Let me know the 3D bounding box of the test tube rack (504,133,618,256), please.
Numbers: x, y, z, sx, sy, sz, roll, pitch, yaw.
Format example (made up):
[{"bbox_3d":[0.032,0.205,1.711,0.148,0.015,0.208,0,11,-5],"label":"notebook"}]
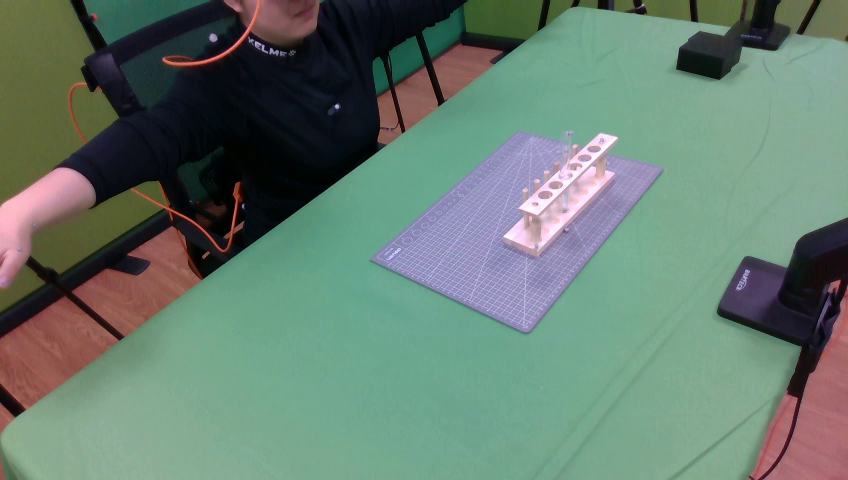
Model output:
[{"bbox_3d":[0.225,-0.083,0.985,0.066,0.085,0.243,25,50,34],"label":"test tube rack"}]

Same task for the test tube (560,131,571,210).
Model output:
[{"bbox_3d":[0.218,-0.103,0.933,0.017,0.151,0.017,-6,45,7],"label":"test tube"}]
